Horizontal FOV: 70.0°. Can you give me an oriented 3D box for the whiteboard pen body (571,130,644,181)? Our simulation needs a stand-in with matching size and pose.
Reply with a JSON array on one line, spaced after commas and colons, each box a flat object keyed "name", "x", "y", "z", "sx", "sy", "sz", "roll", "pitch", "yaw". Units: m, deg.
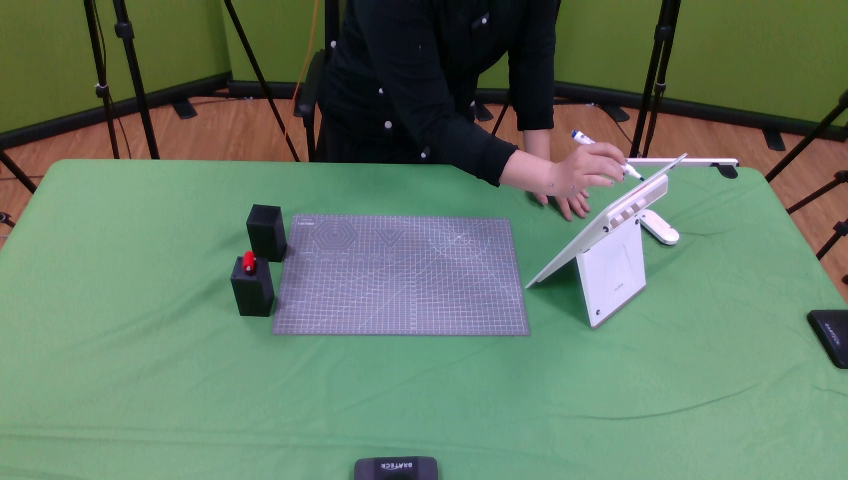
[{"name": "whiteboard pen body", "x": 0.304, "y": -0.139, "z": 1.004, "sx": 0.140, "sy": 0.017, "sz": 0.017, "roll": 36, "pitch": 52, "yaw": 9}]

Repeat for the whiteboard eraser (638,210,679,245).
[{"name": "whiteboard eraser", "x": 0.486, "y": -0.026, "z": 1.260, "sx": 0.041, "sy": 0.019, "sz": 0.100, "roll": -20, "pitch": 50, "yaw": -21}]

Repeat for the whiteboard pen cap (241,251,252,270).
[{"name": "whiteboard pen cap", "x": -0.293, "y": 0.033, "z": 1.006, "sx": 0.017, "sy": 0.017, "sz": 0.032, "roll": -3, "pitch": 44, "yaw": -7}]

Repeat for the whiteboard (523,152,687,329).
[{"name": "whiteboard", "x": 0.346, "y": 0.025, "z": 1.046, "sx": 0.217, "sy": 0.306, "sz": 0.143, "roll": -30, "pitch": 74, "yaw": -29}]
